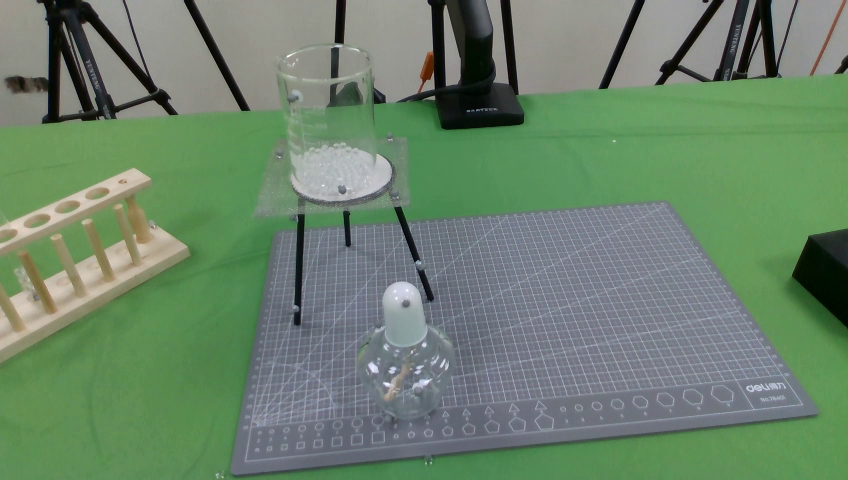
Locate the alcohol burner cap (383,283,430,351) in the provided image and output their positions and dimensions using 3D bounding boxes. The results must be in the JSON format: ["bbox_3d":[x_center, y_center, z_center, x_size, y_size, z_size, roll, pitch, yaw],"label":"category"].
[{"bbox_3d":[-0.013,0.053,0.436,0.034,0.048,0.033,-3,38,3],"label":"alcohol burner cap"}]

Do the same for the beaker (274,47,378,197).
[{"bbox_3d":[-0.076,-0.092,0.480,0.083,0.101,0.074,23,43,27],"label":"beaker"}]

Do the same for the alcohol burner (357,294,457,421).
[{"bbox_3d":[-0.013,0.081,0.458,0.078,0.120,0.077,0,39,1],"label":"alcohol burner"}]

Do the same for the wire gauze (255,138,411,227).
[{"bbox_3d":[-0.073,-0.055,0.512,0.121,0.011,0.124,-3,40,-2],"label":"wire gauze"}]

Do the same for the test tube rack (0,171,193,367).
[{"bbox_3d":[-0.350,0.031,0.565,0.066,0.086,0.242,27,46,32],"label":"test tube rack"}]

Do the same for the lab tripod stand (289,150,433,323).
[{"bbox_3d":[-0.063,-0.005,0.555,0.148,0.132,0.147,0,37,0],"label":"lab tripod stand"}]

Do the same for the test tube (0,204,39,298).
[{"bbox_3d":[-0.375,-0.010,0.537,0.017,0.151,0.017,-3,33,2],"label":"test tube"}]
